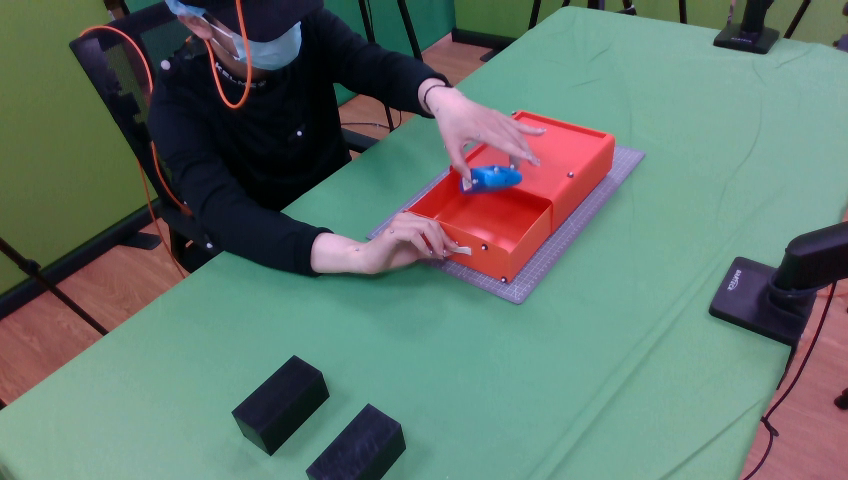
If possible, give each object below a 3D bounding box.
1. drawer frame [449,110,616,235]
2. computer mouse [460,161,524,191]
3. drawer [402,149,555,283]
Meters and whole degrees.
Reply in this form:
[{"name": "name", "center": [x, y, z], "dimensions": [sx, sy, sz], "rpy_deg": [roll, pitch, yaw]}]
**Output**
[{"name": "drawer frame", "center": [0.185, -0.124, 1.034], "dimensions": [0.200, 0.083, 0.214], "rpy_deg": [23, 49, 31]}, {"name": "computer mouse", "center": [0.098, -0.096, 0.901], "dimensions": [0.063, 0.041, 0.116], "rpy_deg": [-4, 3, -17]}, {"name": "drawer", "center": [0.107, -0.050, 0.963], "dimensions": [0.193, 0.073, 0.212], "rpy_deg": [22, 50, 31]}]
